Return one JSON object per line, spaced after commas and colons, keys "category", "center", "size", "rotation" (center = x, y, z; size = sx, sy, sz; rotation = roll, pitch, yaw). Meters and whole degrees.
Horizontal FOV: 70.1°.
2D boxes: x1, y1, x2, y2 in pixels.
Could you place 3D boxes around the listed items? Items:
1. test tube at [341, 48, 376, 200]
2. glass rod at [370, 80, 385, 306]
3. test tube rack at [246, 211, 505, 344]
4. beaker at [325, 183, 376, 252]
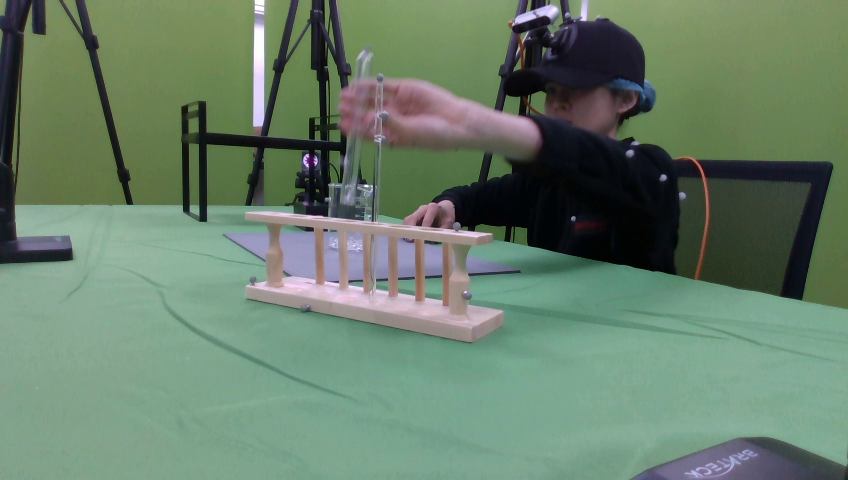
{"category": "test tube", "center": [-0.064, -0.113, 0.590], "size": [0.017, 0.150, 0.017], "rotation": [8, -2, 1]}
{"category": "glass rod", "center": [-0.040, -0.039, 0.530], "size": [0.008, 0.199, 0.008], "rotation": [2, 2, 0]}
{"category": "test tube rack", "center": [-0.049, 0.025, 0.547], "size": [0.241, 0.085, 0.067], "rotation": [7, 8, 29]}
{"category": "beaker", "center": [-0.110, -0.034, 0.920], "size": [0.083, 0.100, 0.074], "rotation": [10, 11, 43]}
